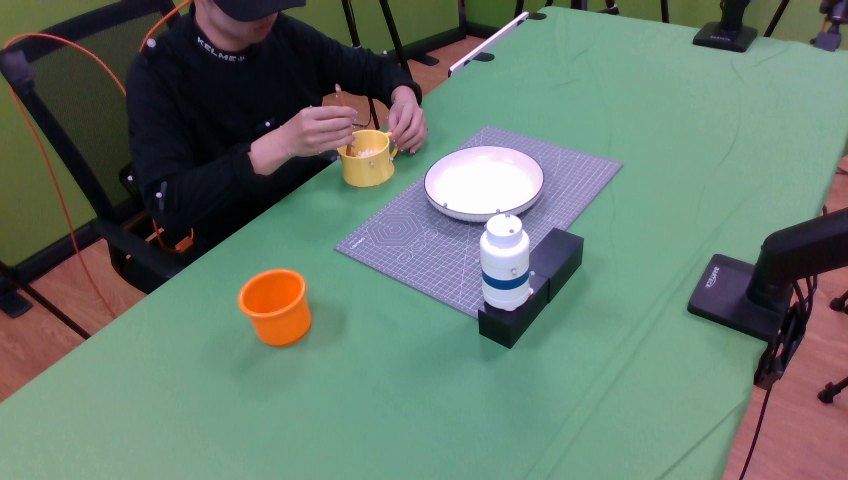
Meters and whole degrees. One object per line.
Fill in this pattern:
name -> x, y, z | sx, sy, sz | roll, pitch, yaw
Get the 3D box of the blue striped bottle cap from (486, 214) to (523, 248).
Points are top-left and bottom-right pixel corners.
blue striped bottle cap -> 0.098, -0.011, 0.735 | 0.044, 0.021, 0.044 | -3, 38, 3

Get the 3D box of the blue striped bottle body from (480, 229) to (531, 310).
blue striped bottle body -> 0.104, 0.027, 0.769 | 0.063, 0.121, 0.063 | -4, 41, 4

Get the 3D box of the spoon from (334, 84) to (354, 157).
spoon -> -0.137, -0.196, 1.076 | 0.021, 0.194, 0.041 | 0, 49, 2

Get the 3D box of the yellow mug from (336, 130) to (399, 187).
yellow mug -> -0.099, -0.161, 1.138 | 0.131, 0.064, 0.099 | -33, 47, -28

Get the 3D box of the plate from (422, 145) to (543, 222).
plate -> 0.101, -0.094, 1.048 | 0.207, 0.039, 0.206 | -4, 41, 4
